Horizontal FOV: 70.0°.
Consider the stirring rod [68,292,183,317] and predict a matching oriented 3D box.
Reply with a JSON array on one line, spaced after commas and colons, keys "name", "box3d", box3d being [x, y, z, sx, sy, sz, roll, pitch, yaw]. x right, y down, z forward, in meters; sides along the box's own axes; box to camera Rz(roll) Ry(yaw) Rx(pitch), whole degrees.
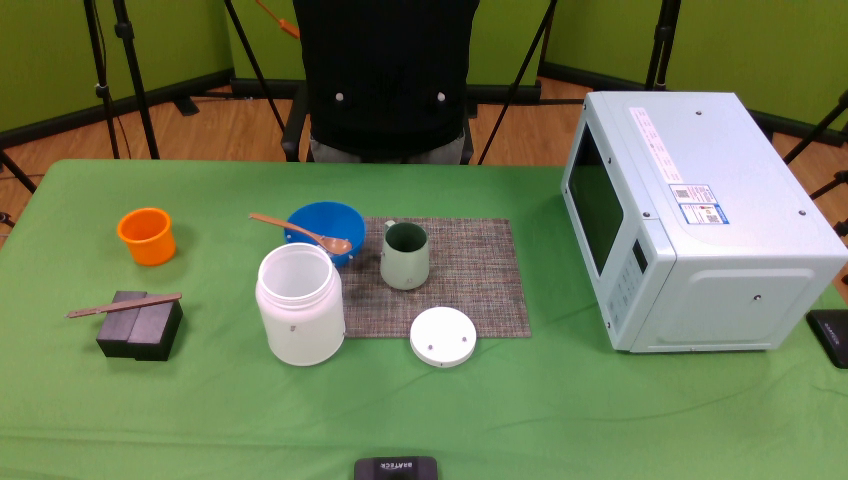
[{"name": "stirring rod", "box3d": [-0.491, 0.107, 1.001, 0.176, 0.006, 0.014, -9, 44, -14]}]

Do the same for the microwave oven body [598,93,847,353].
[{"name": "microwave oven body", "box3d": [0.475, -0.041, 1.110, 0.326, 0.261, 0.438, -1, 45, -4]}]

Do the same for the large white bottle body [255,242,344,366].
[{"name": "large white bottle body", "box3d": [-0.196, 0.102, 0.967, 0.131, 0.185, 0.130, 2, 49, -2]}]

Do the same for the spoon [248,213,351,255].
[{"name": "spoon", "box3d": [-0.228, -0.014, 1.113, 0.194, 0.022, 0.041, 23, 40, -15]}]

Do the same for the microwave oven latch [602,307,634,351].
[{"name": "microwave oven latch", "box3d": [0.332, 0.153, 1.044, 0.030, 0.029, 0.078, -1, 45, -4]}]

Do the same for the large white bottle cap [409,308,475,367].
[{"name": "large white bottle cap", "box3d": [0.031, 0.165, 1.041, 0.115, 0.018, 0.114, 2, 47, -2]}]

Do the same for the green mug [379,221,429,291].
[{"name": "green mug", "box3d": [-0.043, 0.020, 1.116, 0.092, 0.105, 0.124, -20, 50, -21]}]

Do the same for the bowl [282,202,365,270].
[{"name": "bowl", "box3d": [-0.185, 0.006, 1.136, 0.151, 0.077, 0.150, 3, 46, -3]}]

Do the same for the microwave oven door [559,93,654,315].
[{"name": "microwave oven door", "box3d": [0.327, -0.074, 1.123, 0.039, 0.245, 0.353, -1, 46, -5]}]
